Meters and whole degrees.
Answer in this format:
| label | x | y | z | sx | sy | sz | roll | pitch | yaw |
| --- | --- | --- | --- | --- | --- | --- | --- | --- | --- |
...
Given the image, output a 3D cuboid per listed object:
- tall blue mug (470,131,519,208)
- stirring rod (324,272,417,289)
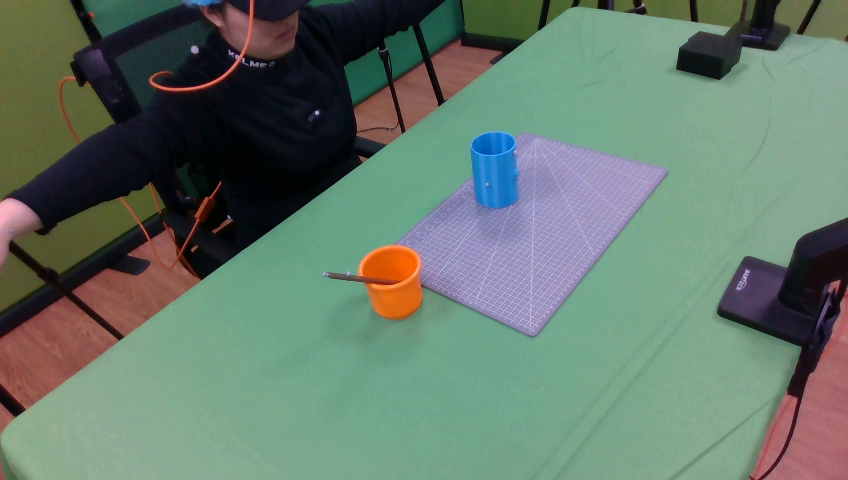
| label | x | y | z | sx | sy | sz | roll | pitch | yaw |
| --- | --- | --- | --- | --- | --- | --- | --- | --- | --- |
| tall blue mug | 0.122 | -0.129 | 1.042 | 0.078 | 0.108 | 0.106 | -7 | 40 | 5 |
| stirring rod | -0.069 | 0.057 | 0.840 | 0.014 | 0.006 | 0.178 | 26 | 9 | 39 |
